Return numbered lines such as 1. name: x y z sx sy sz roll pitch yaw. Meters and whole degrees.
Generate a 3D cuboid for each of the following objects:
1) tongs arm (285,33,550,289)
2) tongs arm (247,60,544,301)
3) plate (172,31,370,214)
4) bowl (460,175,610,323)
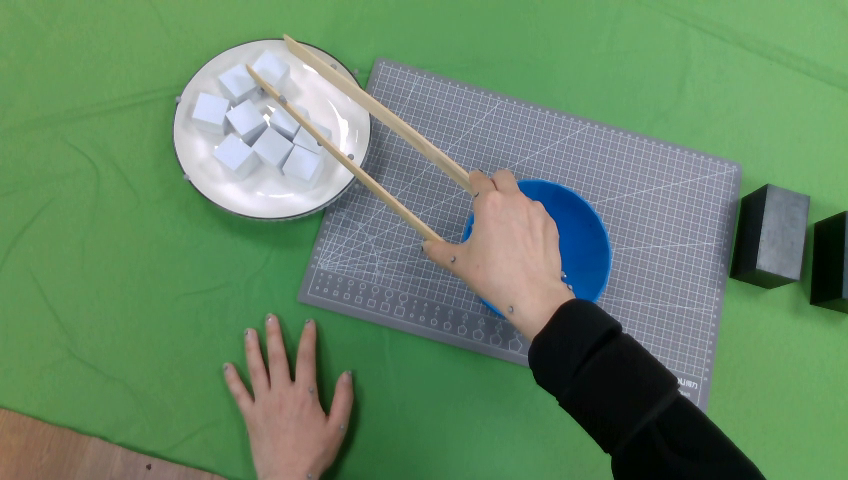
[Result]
1. tongs arm: -0.020 -0.093 0.572 0.028 0.028 0.384 -38 64 -19
2. tongs arm: -0.043 -0.073 0.564 0.051 0.027 0.381 -38 64 -15
3. plate: -0.162 -0.125 0.658 0.208 0.039 0.206 1 76 -4
4. bowl: 0.106 0.016 0.628 0.151 0.077 0.150 1 77 -5
